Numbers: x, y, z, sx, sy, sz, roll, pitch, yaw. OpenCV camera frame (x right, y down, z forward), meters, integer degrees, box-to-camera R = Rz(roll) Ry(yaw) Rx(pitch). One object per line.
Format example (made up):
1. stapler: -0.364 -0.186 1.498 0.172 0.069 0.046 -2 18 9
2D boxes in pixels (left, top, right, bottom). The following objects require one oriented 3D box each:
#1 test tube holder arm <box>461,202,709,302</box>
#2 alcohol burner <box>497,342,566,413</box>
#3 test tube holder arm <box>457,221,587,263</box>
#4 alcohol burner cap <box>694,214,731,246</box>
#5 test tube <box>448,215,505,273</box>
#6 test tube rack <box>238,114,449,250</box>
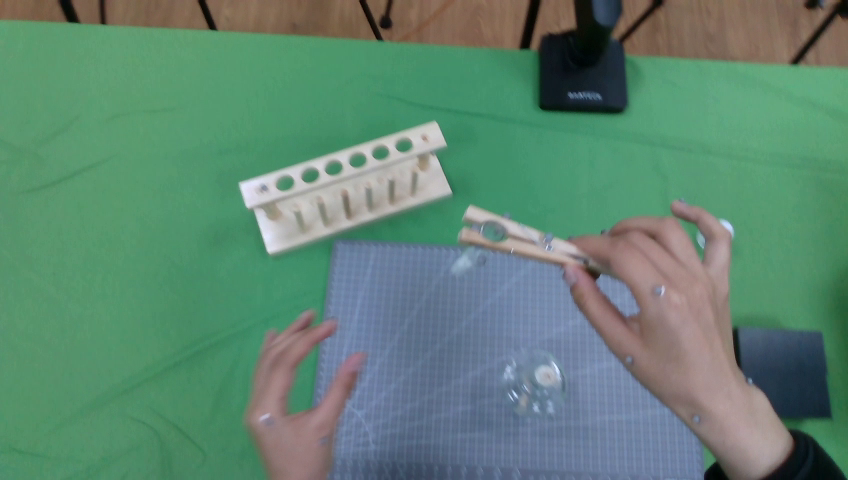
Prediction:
1. test tube holder arm: 0.110 0.009 0.409 0.179 0.015 0.013 18 81 -6
2. alcohol burner: 0.120 0.148 0.659 0.078 0.119 0.077 1 72 -3
3. test tube holder arm: 0.066 0.002 0.403 0.088 0.015 0.010 12 81 -7
4. alcohol burner cap: 0.366 -0.014 0.763 0.034 0.048 0.033 0 70 0
5. test tube: 0.037 0.006 0.466 0.017 0.150 0.017 1 77 -7
6. test tube rack: -0.090 -0.070 0.741 0.242 0.085 0.066 -20 73 -8
